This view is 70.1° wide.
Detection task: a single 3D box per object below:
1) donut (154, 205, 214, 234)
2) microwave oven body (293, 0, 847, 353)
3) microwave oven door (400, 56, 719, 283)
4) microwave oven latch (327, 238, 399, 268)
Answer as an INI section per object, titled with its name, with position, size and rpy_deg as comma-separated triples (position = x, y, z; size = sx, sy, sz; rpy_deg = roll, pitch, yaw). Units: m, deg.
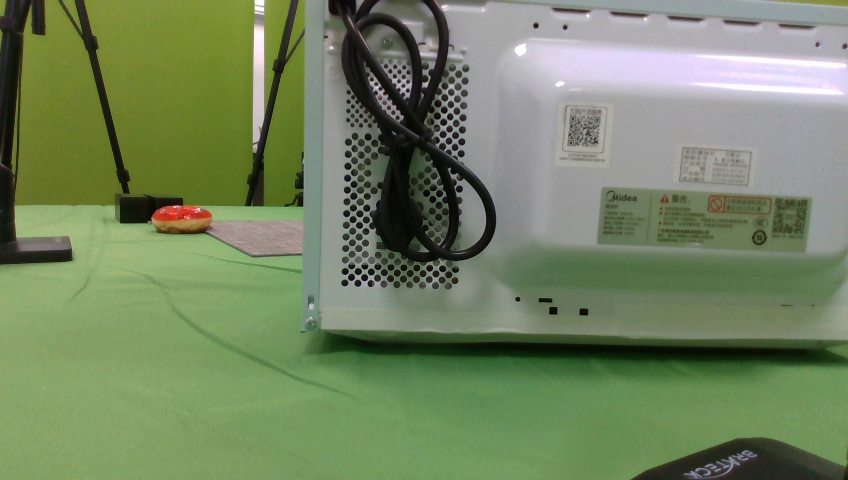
[donut]
position = -0.426, -0.037, 1.075
size = 0.099, 0.048, 0.099
rpy_deg = 2, 12, 0
[microwave oven body]
position = 0.122, -0.055, 0.550
size = 0.442, 0.260, 0.325
rpy_deg = 3, 7, -5
[microwave oven door]
position = 0.155, -0.077, 0.697
size = 0.356, 0.243, 0.039
rpy_deg = 2, 8, -5
[microwave oven latch]
position = -0.069, 0.015, 0.694
size = 0.079, 0.029, 0.030
rpy_deg = 3, 7, -3
